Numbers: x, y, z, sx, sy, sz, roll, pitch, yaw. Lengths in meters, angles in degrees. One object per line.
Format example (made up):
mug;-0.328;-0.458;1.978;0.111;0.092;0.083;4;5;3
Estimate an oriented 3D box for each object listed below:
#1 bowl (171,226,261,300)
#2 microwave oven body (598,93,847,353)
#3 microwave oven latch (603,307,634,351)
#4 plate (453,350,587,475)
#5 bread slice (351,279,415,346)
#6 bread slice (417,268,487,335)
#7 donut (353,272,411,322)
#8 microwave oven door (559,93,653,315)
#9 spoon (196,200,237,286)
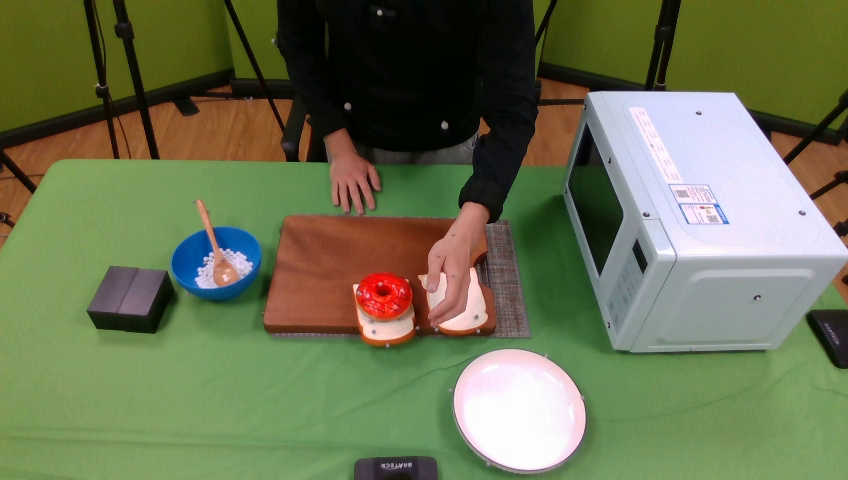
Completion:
bowl;-0.363;0.054;1.081;0.151;0.077;0.150;2;45;-2
microwave oven body;0.475;-0.041;1.109;0.326;0.261;0.438;-1;45;-4
microwave oven latch;0.332;0.153;1.044;0.030;0.029;0.078;0;45;-3
plate;0.147;0.267;0.943;0.208;0.039;0.206;2;45;-2
bread slice;-0.067;0.123;1.041;0.105;0.019;0.130;-7;47;-9
bread slice;0.056;0.107;1.063;0.107;0.018;0.133;-9;48;-12
donut;-0.071;0.096;1.025;0.099;0.048;0.098;2;45;-2
microwave oven door;0.327;-0.074;1.123;0.039;0.245;0.353;-1;46;-5
spoon;-0.378;0.003;1.086;0.042;0.022;0.193;-15;67;-24
